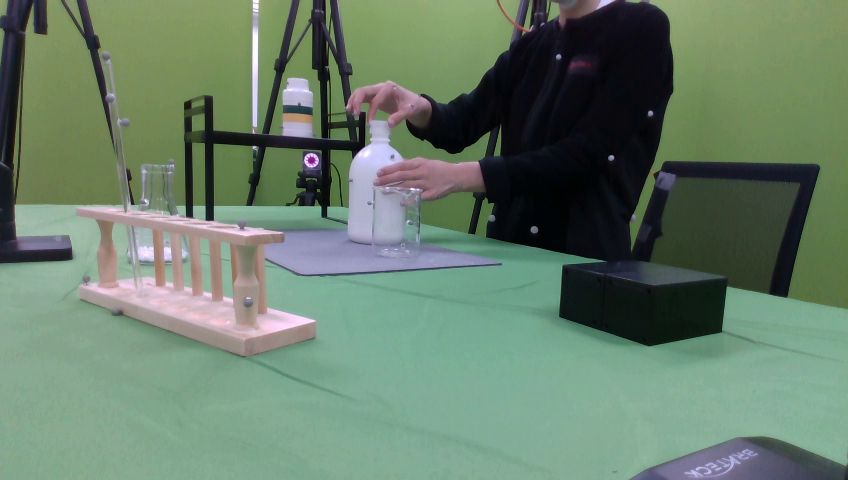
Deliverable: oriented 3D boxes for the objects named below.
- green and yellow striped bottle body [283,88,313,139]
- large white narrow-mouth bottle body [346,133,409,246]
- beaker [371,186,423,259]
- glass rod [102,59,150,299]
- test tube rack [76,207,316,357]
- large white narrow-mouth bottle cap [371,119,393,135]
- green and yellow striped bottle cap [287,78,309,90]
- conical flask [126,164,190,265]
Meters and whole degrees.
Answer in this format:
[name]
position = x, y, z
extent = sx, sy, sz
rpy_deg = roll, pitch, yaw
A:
[green and yellow striped bottle body]
position = -0.266, -0.275, 1.275
extent = 0.063, 0.119, 0.063
rpy_deg = 3, 7, 0
[large white narrow-mouth bottle body]
position = -0.076, -0.092, 1.011
extent = 0.102, 0.194, 0.102
rpy_deg = 4, 8, 0
[beaker]
position = -0.038, -0.025, 0.868
extent = 0.074, 0.100, 0.083
rpy_deg = -1, 8, -22
[glass rod]
position = -0.243, -0.045, 0.496
extent = 0.008, 0.199, 0.008
rpy_deg = -4, 12, 1
[test tube rack]
position = -0.196, 0.023, 0.500
extent = 0.241, 0.085, 0.067
rpy_deg = 8, 9, 36
[large white narrow-mouth bottle cap]
position = -0.069, -0.185, 0.996
extent = 0.038, 0.024, 0.037
rpy_deg = 4, 8, 0
[green and yellow striped bottle cap]
position = -0.265, -0.326, 1.268
extent = 0.045, 0.020, 0.045
rpy_deg = 4, 6, 0
[conical flask]
position = -0.332, -0.033, 0.756
extent = 0.075, 0.122, 0.075
rpy_deg = 2, 7, 0
